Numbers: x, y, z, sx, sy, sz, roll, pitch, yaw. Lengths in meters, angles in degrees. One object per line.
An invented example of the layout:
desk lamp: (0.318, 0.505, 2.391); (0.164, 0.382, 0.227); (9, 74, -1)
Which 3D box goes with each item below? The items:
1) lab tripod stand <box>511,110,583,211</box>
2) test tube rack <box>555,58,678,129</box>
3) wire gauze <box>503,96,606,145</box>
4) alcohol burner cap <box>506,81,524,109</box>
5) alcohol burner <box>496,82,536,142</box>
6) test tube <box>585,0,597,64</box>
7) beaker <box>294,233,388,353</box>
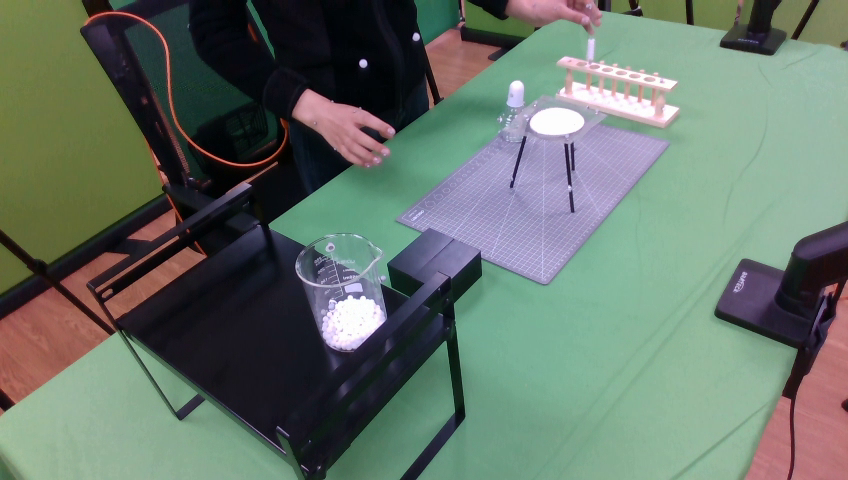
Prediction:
lab tripod stand: (0.220, -0.138, 1.014); (0.148, 0.132, 0.147); (-3, 41, 3)
test tube rack: (0.390, -0.307, 1.229); (0.240, 0.085, 0.067); (25, 51, 33)
wire gauze: (0.211, -0.192, 0.975); (0.120, 0.011, 0.125); (24, 49, 32)
alcohol burner cap: (0.173, -0.277, 1.144); (0.034, 0.048, 0.033); (0, 39, 0)
alcohol burner: (0.178, -0.250, 1.167); (0.078, 0.119, 0.077); (-5, 42, 5)
test tube: (0.322, -0.411, 1.163); (0.017, 0.151, 0.017); (-5, 41, 5)
beaker: (-0.073, 0.053, 0.585); (0.084, 0.101, 0.073); (-13, 41, -6)
